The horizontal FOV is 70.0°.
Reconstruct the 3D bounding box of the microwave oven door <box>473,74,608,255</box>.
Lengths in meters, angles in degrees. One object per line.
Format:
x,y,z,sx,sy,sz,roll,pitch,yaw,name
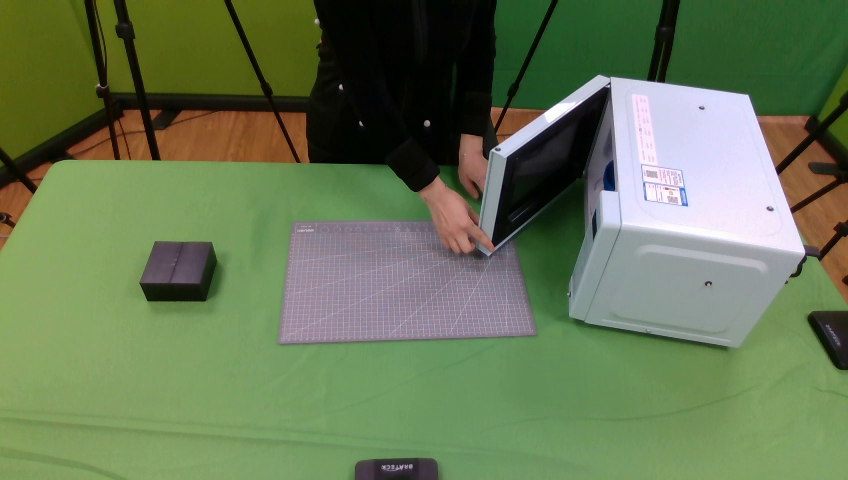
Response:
0.233,-0.152,1.186,0.039,0.245,0.355,35,53,26,microwave oven door

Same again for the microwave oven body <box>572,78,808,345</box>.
0.456,-0.063,1.124,0.326,0.261,0.439,8,45,5,microwave oven body

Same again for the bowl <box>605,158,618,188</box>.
0.422,-0.093,1.195,0.151,0.077,0.150,4,48,-4,bowl

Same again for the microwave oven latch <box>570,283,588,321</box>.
0.276,0.105,1.082,0.030,0.029,0.079,10,45,7,microwave oven latch
